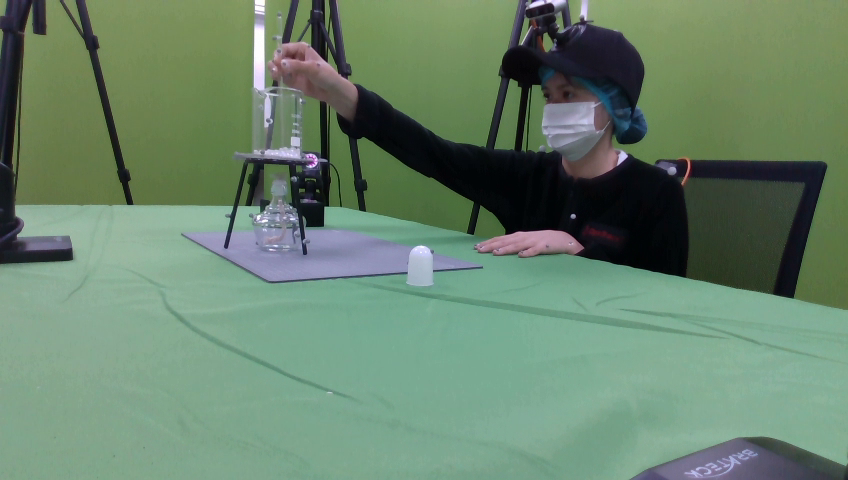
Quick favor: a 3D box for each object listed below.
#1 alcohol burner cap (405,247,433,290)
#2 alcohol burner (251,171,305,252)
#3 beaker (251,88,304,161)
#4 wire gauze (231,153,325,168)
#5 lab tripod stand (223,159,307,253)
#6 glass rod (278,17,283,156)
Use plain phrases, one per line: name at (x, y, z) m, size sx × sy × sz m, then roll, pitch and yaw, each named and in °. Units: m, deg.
alcohol burner cap at (-0.005, 0.031, 0.698) m, size 0.034 × 0.048 × 0.034 m, roll 3°, pitch 8°, yaw 0°
alcohol burner at (-0.214, -0.042, 0.888) m, size 0.078 × 0.119 × 0.078 m, roll 2°, pitch 9°, yaw 0°
beaker at (-0.214, -0.165, 0.874) m, size 0.074 × 0.100 × 0.084 m, roll 4°, pitch 6°, yaw 16°
wire gauze at (-0.215, -0.117, 0.882) m, size 0.125 × 0.011 × 0.121 m, roll 3°, pitch 7°, yaw -19°
lab tripod stand at (-0.220, -0.053, 0.896) m, size 0.148 × 0.131 × 0.148 m, roll 1°, pitch 6°, yaw 0°
glass rod at (-0.211, -0.224, 0.886) m, size 0.008 × 0.199 × 0.008 m, roll 2°, pitch 6°, yaw 0°
